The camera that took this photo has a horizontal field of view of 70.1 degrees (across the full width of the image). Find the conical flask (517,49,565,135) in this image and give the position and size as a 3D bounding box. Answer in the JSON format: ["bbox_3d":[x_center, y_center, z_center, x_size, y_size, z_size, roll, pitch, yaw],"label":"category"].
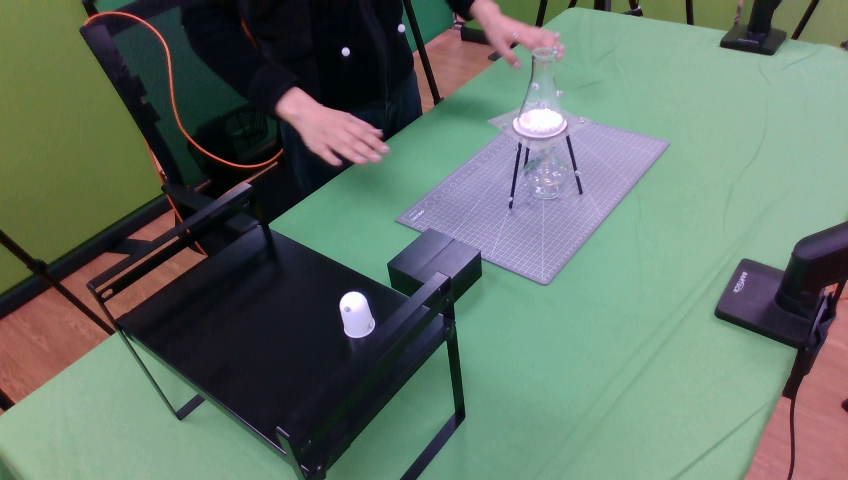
[{"bbox_3d":[0.183,-0.231,0.936,0.075,0.122,0.075,-4,40,4],"label":"conical flask"}]

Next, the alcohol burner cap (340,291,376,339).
[{"bbox_3d":[-0.067,0.072,0.605,0.034,0.048,0.033,-5,41,5],"label":"alcohol burner cap"}]

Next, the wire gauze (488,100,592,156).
[{"bbox_3d":[0.185,-0.187,0.974,0.122,0.011,0.124,-28,47,-22],"label":"wire gauze"}]

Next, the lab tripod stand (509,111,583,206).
[{"bbox_3d":[0.197,-0.139,1.019,0.148,0.132,0.147,-3,39,3],"label":"lab tripod stand"}]

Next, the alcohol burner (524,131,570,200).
[{"bbox_3d":[0.208,-0.129,1.021,0.078,0.119,0.077,-4,39,4],"label":"alcohol burner"}]
